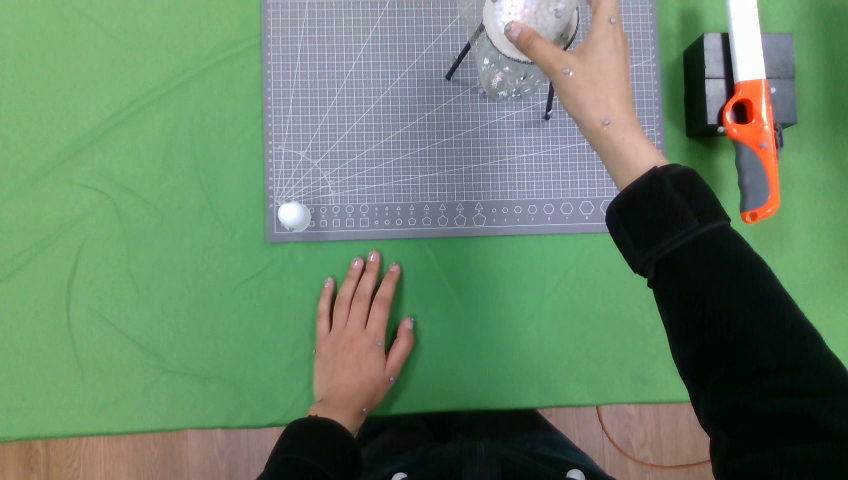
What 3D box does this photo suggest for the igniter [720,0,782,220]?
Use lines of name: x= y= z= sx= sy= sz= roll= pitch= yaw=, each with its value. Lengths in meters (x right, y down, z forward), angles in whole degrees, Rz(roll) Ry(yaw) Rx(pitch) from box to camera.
igniter: x=0.341 y=-0.159 z=0.639 sx=0.057 sy=0.025 sz=0.276 roll=-4 pitch=86 yaw=9

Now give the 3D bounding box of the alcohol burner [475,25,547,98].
alcohol burner: x=0.093 y=-0.192 z=0.631 sx=0.078 sy=0.119 sz=0.078 roll=0 pitch=88 yaw=-2

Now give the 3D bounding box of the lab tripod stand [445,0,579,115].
lab tripod stand: x=0.097 y=-0.208 z=0.623 sx=0.148 sy=0.131 sz=0.148 roll=0 pitch=85 yaw=-2

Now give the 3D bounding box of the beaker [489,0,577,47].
beaker: x=0.093 y=-0.213 z=0.509 sx=0.084 sy=0.100 sz=0.074 roll=-3 pitch=84 yaw=-2

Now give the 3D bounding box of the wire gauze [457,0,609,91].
wire gauze: x=0.098 y=-0.206 z=0.557 sx=0.125 sy=0.011 sz=0.121 roll=-15 pitch=87 yaw=-5

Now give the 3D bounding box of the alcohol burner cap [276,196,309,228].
alcohol burner cap: x=-0.143 y=-0.032 z=0.648 sx=0.034 sy=0.048 sz=0.034 roll=0 pitch=86 yaw=-3
